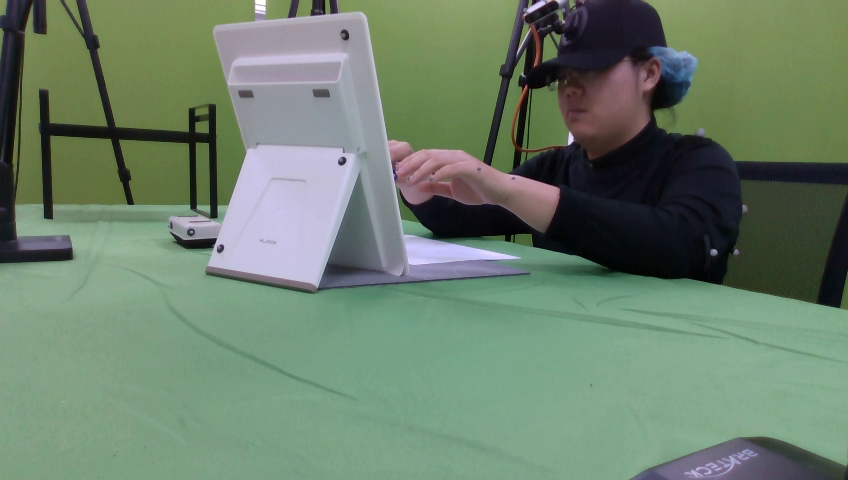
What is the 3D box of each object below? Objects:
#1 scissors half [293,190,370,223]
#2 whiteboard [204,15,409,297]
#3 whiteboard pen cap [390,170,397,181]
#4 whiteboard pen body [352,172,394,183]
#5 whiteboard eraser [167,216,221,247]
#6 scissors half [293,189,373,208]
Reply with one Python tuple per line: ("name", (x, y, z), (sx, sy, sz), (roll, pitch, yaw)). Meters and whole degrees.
("scissors half", (-0.205, -0.077, 1.338), (0.175, 0.040, 0.013), (22, 12, -8))
("whiteboard", (-0.166, -0.072, 0.669), (0.216, 0.305, 0.144), (8, 30, 30))
("whiteboard pen cap", (-0.053, -0.090, 0.860), (0.018, 0.018, 0.033), (-1, 0, -29))
("whiteboard pen body", (-0.077, -0.094, 0.913), (0.017, 0.017, 0.140), (-1, 6, -29))
("whiteboard eraser", (-0.350, -0.013, 0.920), (0.056, 0.042, 0.112), (0, 7, -35))
("scissors half", (-0.201, -0.096, 1.332), (0.175, 0.040, 0.013), (5, 19, -4))
